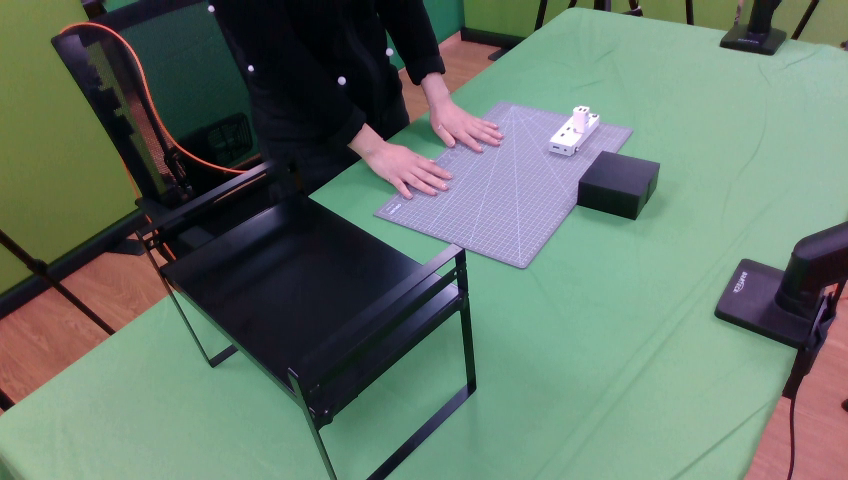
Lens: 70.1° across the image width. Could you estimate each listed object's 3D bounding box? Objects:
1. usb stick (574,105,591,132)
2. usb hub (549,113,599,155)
[{"bbox_3d":[0.298,-0.222,1.138,0.027,0.059,0.021,21,56,31],"label":"usb stick"},{"bbox_3d":[0.291,-0.207,1.166,0.049,0.025,0.125,21,49,29],"label":"usb hub"}]
